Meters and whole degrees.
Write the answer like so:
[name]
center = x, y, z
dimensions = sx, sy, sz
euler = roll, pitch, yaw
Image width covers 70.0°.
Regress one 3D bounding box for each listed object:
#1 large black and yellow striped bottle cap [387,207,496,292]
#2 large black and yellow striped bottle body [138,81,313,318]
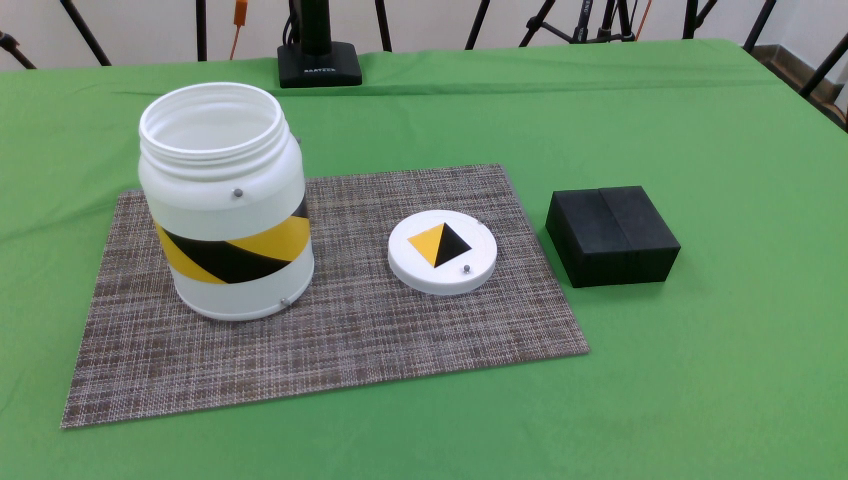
[large black and yellow striped bottle cap]
center = 0.018, 0.007, 0.634
dimensions = 0.115, 0.019, 0.114
euler = 1, 42, -1
[large black and yellow striped bottle body]
center = -0.172, -0.034, 0.541
dimensions = 0.131, 0.185, 0.129
euler = 2, 43, -2
